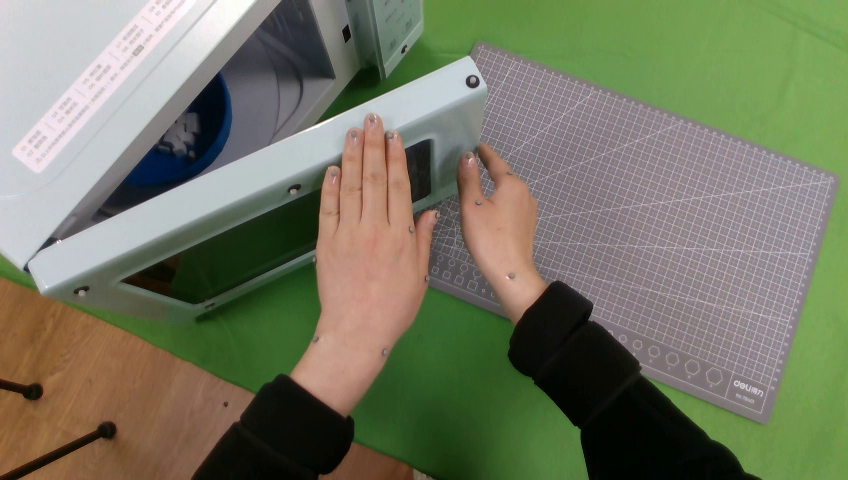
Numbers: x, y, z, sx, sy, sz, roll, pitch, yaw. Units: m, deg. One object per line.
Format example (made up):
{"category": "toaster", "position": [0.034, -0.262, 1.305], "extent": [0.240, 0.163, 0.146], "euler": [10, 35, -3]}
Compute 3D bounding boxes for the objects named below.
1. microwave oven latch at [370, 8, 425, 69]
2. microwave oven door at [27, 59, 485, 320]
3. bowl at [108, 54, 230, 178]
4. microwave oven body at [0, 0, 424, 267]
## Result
{"category": "microwave oven latch", "position": [-0.031, -0.238, 0.699], "extent": [0.030, 0.029, 0.079], "euler": [38, 82, 7]}
{"category": "microwave oven door", "position": [-0.116, -0.028, 0.553], "extent": [0.356, 0.245, 0.039], "euler": [-26, 78, -5]}
{"category": "bowl", "position": [-0.261, -0.123, 0.611], "extent": [0.151, 0.077, 0.150], "euler": [0, 75, 2]}
{"category": "microwave oven body", "position": [-0.258, -0.206, 0.596], "extent": [0.325, 0.261, 0.441], "euler": [36, 82, 7]}
